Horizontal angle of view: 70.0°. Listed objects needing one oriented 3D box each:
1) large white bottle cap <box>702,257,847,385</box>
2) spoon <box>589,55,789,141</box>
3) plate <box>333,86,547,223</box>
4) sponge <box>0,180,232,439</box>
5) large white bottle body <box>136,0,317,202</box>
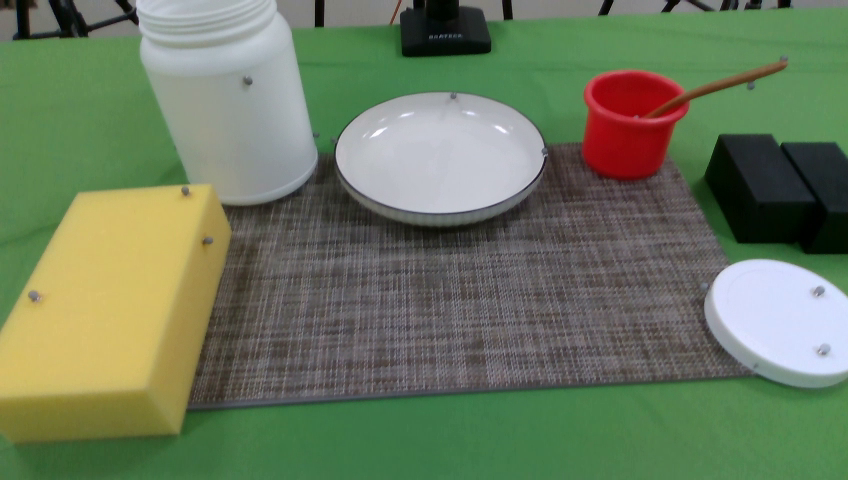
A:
[{"bbox_3d":[0.277,0.059,0.468,0.115,0.018,0.113,1,45,-1],"label":"large white bottle cap"},{"bbox_3d":[0.237,-0.130,0.568,0.022,0.193,0.041,53,53,-11],"label":"spoon"},{"bbox_3d":[0.016,-0.084,0.603,0.209,0.038,0.207,0,44,1],"label":"plate"},{"bbox_3d":[-0.231,0.043,0.467,0.118,0.061,0.204,-4,44,0],"label":"sponge"},{"bbox_3d":[-0.178,-0.143,0.563,0.130,0.186,0.129,-2,43,2],"label":"large white bottle body"}]
